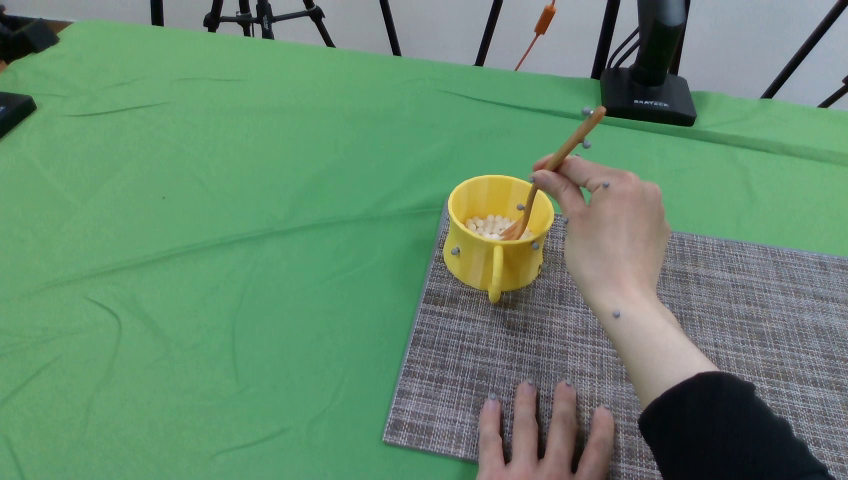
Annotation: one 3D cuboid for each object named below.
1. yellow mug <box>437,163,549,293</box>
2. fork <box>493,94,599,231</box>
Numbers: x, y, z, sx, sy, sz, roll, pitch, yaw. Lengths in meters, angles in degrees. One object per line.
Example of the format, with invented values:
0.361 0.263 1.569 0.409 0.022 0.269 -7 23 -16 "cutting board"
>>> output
0.063 -0.008 0.571 0.100 0.064 0.129 5 45 1 "yellow mug"
0.094 -0.052 0.507 0.018 0.208 0.028 22 60 0 "fork"
